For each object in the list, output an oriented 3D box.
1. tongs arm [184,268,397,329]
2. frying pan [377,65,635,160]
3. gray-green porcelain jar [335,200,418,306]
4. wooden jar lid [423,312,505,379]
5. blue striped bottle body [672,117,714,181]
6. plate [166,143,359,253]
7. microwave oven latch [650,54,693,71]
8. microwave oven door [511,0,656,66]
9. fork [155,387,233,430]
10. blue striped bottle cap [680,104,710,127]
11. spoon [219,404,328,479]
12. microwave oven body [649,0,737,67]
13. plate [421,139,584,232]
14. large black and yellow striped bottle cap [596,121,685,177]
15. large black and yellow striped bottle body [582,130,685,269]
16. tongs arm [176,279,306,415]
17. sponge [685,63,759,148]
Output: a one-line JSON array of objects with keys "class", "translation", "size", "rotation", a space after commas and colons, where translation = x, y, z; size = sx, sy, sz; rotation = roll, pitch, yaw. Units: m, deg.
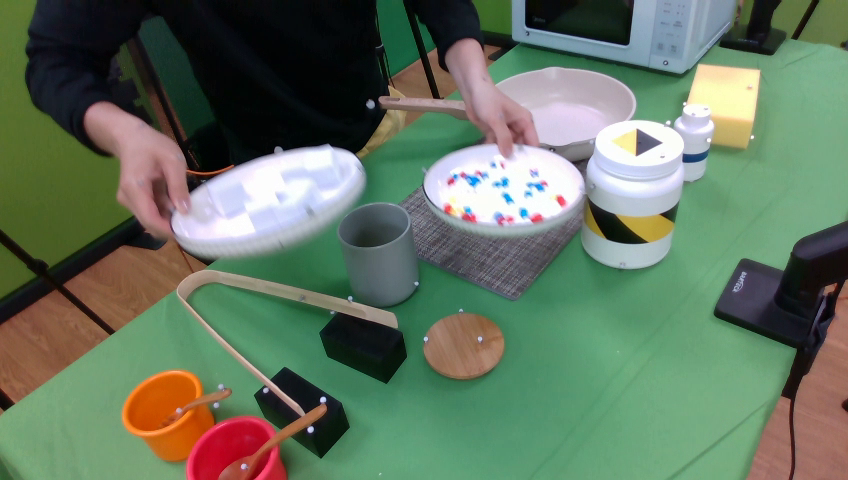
[{"class": "tongs arm", "translation": [-0.203, 0.084, 0.848], "size": [0.382, 0.027, 0.051], "rotation": [11, 44, 35]}, {"class": "frying pan", "translation": [0.150, -0.255, 1.177], "size": [0.488, 0.103, 0.306], "rotation": [7, 41, 4]}, {"class": "gray-green porcelain jar", "translation": [-0.064, 0.023, 0.872], "size": [0.106, 0.127, 0.105], "rotation": [-4, 41, 4]}, {"class": "wooden jar lid", "translation": [0.053, 0.142, 0.801], "size": [0.108, 0.021, 0.108], "rotation": [-4, 39, 4]}, {"class": "blue striped bottle body", "translation": [0.449, -0.165, 1.022], "size": [0.063, 0.121, 0.063], "rotation": [-5, 41, 4]}, {"class": "plate", "translation": [-0.168, -0.044, 0.654], "size": [0.207, 0.039, 0.207], "rotation": [-11, 30, 7]}, {"class": "microwave oven latch", "translation": [0.531, -0.386, 1.301], "size": [0.078, 0.029, 0.030], "rotation": [26, 51, 33]}, {"class": "microwave oven door", "translation": [0.350, -0.539, 1.348], "size": [0.353, 0.245, 0.039], "rotation": [24, 50, 31]}, {"class": "fork", "translation": [-0.264, 0.191, 0.688], "size": [0.206, 0.018, 0.028], "rotation": [-33, 7, 44]}, {"class": "blue striped bottle cap", "translation": [0.443, -0.205, 0.989], "size": [0.044, 0.021, 0.044], "rotation": [-1, 41, 2]}, {"class": "spoon", "translation": [-0.164, 0.222, 0.643], "size": [0.193, 0.022, 0.041], "rotation": [-43, 26, 29]}, {"class": "microwave oven body", "translation": [0.475, -0.602, 1.411], "size": [0.438, 0.261, 0.327], "rotation": [23, 50, 32]}, {"class": "plate", "translation": [0.100, -0.068, 0.786], "size": [0.209, 0.038, 0.208], "rotation": [-2, 36, 2]}, {"class": "large black and yellow striped bottle cap", "translation": [0.292, -0.126, 0.821], "size": [0.115, 0.019, 0.114], "rotation": [-5, 40, 4]}, {"class": "large black and yellow striped bottle body", "translation": [0.301, -0.064, 0.878], "size": [0.131, 0.185, 0.130], "rotation": [-4, 41, 4]}, {"class": "tongs arm", "translation": [-0.255, 0.132, 0.801], "size": [0.028, 0.028, 0.384], "rotation": [-41, 40, -23]}, {"class": "sponge", "translation": [0.569, -0.263, 1.164], "size": [0.117, 0.061, 0.207], "rotation": [12, 45, 22]}]
